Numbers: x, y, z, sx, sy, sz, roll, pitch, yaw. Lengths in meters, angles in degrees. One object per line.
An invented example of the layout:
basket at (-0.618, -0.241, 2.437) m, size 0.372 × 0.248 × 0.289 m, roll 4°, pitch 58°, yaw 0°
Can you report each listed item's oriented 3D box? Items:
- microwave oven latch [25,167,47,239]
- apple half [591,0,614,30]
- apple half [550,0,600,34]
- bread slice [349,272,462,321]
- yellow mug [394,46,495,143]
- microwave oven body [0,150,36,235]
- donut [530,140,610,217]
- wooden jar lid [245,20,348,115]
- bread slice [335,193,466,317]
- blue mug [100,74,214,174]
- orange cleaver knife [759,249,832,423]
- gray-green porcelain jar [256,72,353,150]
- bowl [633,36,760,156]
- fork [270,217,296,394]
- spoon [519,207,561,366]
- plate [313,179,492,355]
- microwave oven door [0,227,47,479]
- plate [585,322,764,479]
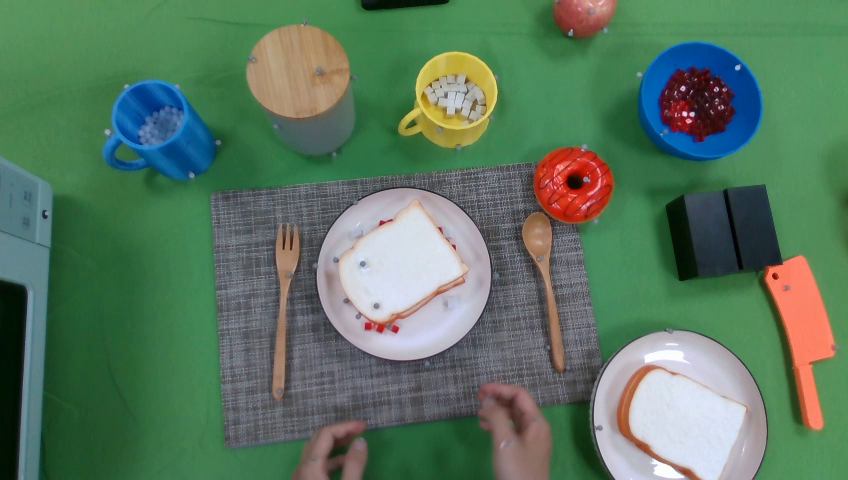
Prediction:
microwave oven latch at (-0.452, -0.042, 0.695) m, size 0.030 × 0.029 × 0.079 m, roll -2°, pitch 80°, yaw -4°
apple half at (0.213, -0.317, 0.786) m, size 0.053 × 0.075 × 0.080 m, roll -38°, pitch 80°, yaw -15°
apple half at (0.184, -0.292, 0.778) m, size 0.033 × 0.081 × 0.081 m, roll -39°, pitch 83°, yaw -14°
bread slice at (-0.034, 0.034, 0.723) m, size 0.131 × 0.019 × 0.104 m, roll -33°, pitch 84°, yaw -10°
yellow mug at (0.021, -0.172, 0.752) m, size 0.131 × 0.064 × 0.099 m, roll -30°, pitch 83°, yaw -7°
microwave oven body at (-0.585, 0.120, 0.559) m, size 0.326 × 0.261 × 0.440 m, roll -3°, pitch 80°, yaw -4°
donut at (0.180, -0.077, 0.750) m, size 0.099 × 0.048 × 0.098 m, roll 1°, pitch 80°, yaw -3°
wooden jar lid at (-0.136, -0.183, 0.650) m, size 0.108 × 0.021 × 0.108 m, roll 1°, pitch 77°, yaw -2°
bread slice at (-0.033, 0.026, 0.696) m, size 0.134 × 0.018 × 0.106 m, roll -37°, pitch 81°, yaw -11°
blue mug at (-0.314, -0.123, 0.702) m, size 0.116 × 0.106 × 0.082 m, roll -31°, pitch 82°, yaw -8°
orange cleaver knife at (0.467, 0.115, 0.748) m, size 0.077 × 0.012 × 0.210 m, roll -4°, pitch 78°, yaw -11°
gray-green porcelain jar at (-0.139, -0.170, 0.711) m, size 0.106 × 0.127 × 0.105 m, roll 1°, pitch 79°, yaw -3°
bowl at (0.328, -0.168, 0.762) m, size 0.151 × 0.077 × 0.151 m, roll 1°, pitch 80°, yaw -3°
fork at (-0.169, 0.075, 0.713) m, size 0.028 × 0.018 × 0.206 m, roll 3°, pitch 78°, yaw -11°
spoon at (0.145, 0.055, 0.734) m, size 0.042 × 0.021 × 0.193 m, roll -4°, pitch 78°, yaw -26°
plate at (-0.025, 0.032, 0.721) m, size 0.208 × 0.039 × 0.206 m, roll 1°, pitch 80°, yaw -3°
microwave oven door at (-0.436, 0.153, 0.556) m, size 0.039 × 0.244 × 0.354 m, roll -3°, pitch 79°, yaw -3°
plate at (0.289, 0.202, 0.711) m, size 0.209 × 0.038 × 0.208 m, roll 1°, pitch 79°, yaw -2°
